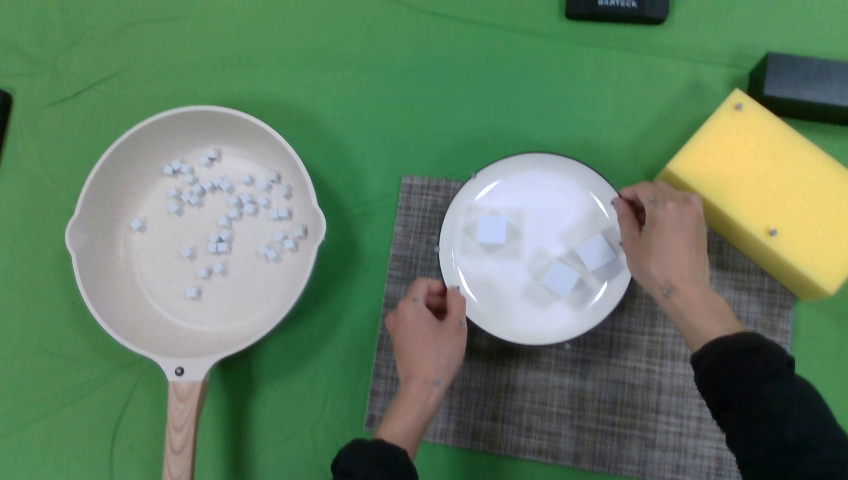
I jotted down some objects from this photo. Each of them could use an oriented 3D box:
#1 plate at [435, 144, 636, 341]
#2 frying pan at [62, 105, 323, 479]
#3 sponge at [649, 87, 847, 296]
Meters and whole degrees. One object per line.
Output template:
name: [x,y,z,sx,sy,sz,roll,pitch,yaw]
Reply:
plate: [0.117,0.003,0.652,0.207,0.039,0.207,0,87,7]
frying pan: [-0.262,0.091,0.682,0.306,0.103,0.485,-1,74,7]
sponge: [0.369,-0.052,0.653,0.206,0.061,0.118,41,86,11]
